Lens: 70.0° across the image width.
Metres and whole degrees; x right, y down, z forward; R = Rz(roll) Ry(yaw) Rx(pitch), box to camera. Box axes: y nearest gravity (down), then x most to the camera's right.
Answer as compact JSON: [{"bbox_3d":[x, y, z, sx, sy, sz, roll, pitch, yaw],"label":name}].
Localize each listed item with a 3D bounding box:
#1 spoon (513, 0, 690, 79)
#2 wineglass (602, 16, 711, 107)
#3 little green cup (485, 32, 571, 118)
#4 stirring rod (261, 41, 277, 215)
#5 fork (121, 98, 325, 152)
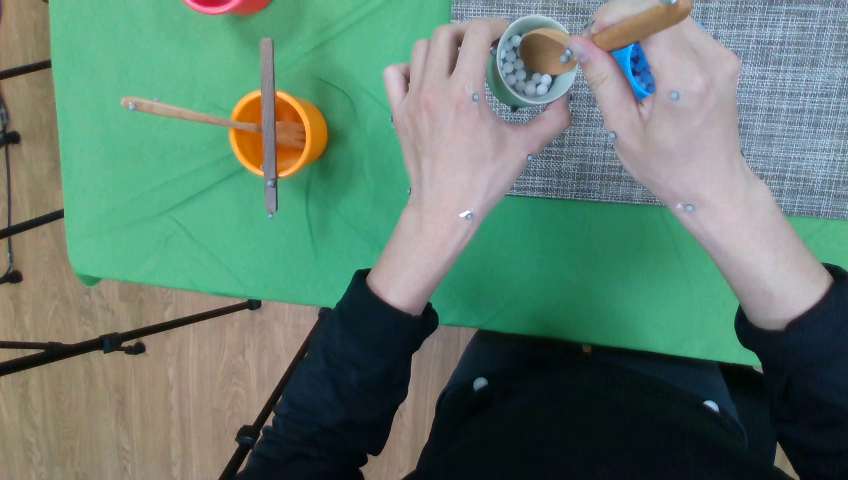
[{"bbox_3d":[0.096,-0.116,0.357,0.042,0.192,0.021,34,94,-14],"label":"spoon"},{"bbox_3d":[0.198,-0.154,0.536,0.073,0.172,0.074,2,103,10],"label":"wineglass"},{"bbox_3d":[0.075,-0.124,0.452,0.061,0.038,0.062,0,112,0],"label":"little green cup"},{"bbox_3d":[-0.160,-0.113,0.626,0.014,0.006,0.177,5,104,10],"label":"stirring rod"},{"bbox_3d":[-0.202,-0.120,0.634,0.209,0.018,0.028,6,116,-35],"label":"fork"}]
